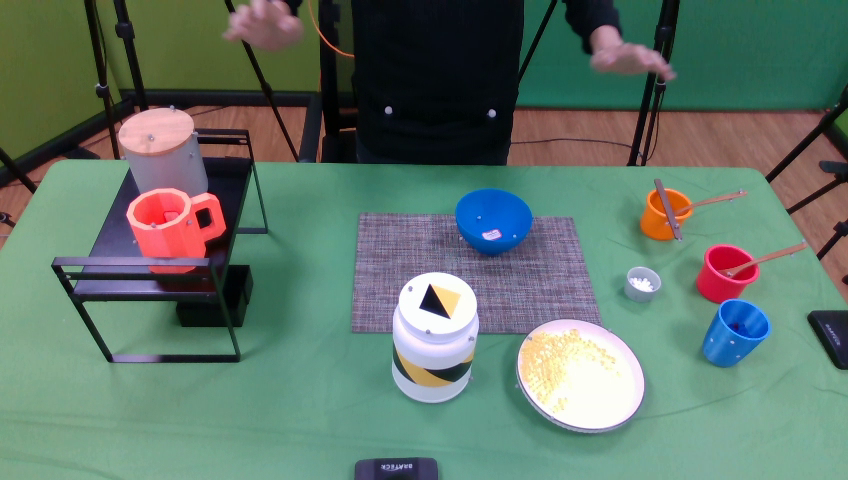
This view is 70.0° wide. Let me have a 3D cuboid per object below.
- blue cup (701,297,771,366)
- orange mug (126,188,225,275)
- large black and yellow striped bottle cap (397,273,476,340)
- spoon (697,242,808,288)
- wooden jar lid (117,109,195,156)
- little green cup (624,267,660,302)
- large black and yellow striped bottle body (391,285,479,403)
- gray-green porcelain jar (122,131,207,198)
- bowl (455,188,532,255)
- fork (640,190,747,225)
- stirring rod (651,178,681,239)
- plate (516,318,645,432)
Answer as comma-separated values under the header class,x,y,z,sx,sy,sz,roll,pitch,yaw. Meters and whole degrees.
class,x,y,z,sx,sy,sz,roll,pitch,yaw
blue cup,0.519,0.162,1.025,0.093,0.101,0.092,3,45,-3
orange mug,-0.357,-0.020,0.885,0.126,0.101,0.083,-29,54,-23
large black and yellow striped bottle cap,0.018,0.094,0.878,0.115,0.019,0.114,3,46,-3
spoon,0.601,0.045,1.116,0.194,0.022,0.041,-29,34,30
wooden jar lid,-0.400,-0.159,0.910,0.108,0.021,0.107,2,47,-2
little green cup,0.406,0.084,1.135,0.061,0.039,0.061,3,46,-3
large black and yellow striped bottle body,0.015,0.153,0.938,0.131,0.185,0.130,2,46,-2
gray-green porcelain jar,-0.404,-0.116,0.955,0.106,0.127,0.105,3,46,-3
bowl,0.131,-0.025,1.187,0.151,0.077,0.150,2,46,-2
fork,0.533,-0.065,1.211,0.207,0.019,0.028,-22,27,38
stirring rod,0.479,-0.065,1.204,0.014,0.006,0.175,3,46,-4
plate,0.253,0.221,0.992,0.209,0.038,0.208,2,46,-2
